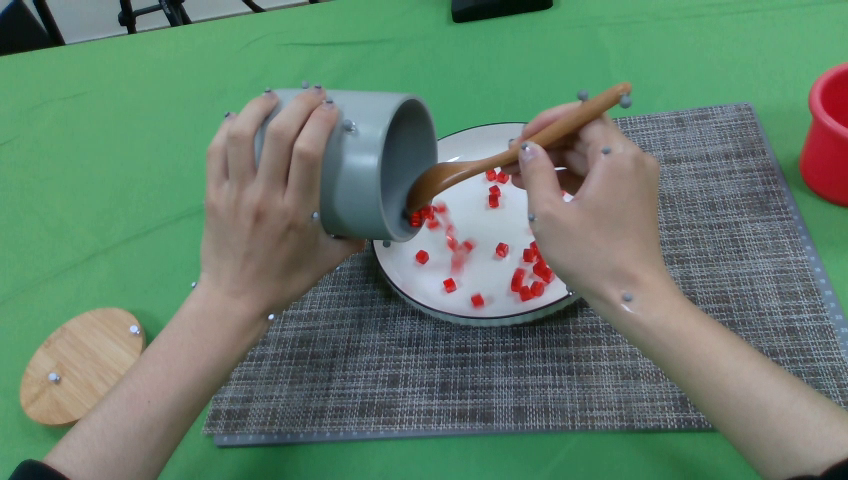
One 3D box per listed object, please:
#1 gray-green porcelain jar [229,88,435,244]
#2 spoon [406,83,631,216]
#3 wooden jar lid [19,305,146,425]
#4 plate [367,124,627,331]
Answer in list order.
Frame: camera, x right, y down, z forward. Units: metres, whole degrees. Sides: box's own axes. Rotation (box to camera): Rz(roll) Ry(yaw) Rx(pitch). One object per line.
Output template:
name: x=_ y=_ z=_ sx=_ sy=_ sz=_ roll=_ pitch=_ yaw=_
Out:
gray-green porcelain jar: x=-0.068 y=-0.057 z=0.448 sx=0.126 sy=0.107 sz=0.105 roll=9 pitch=55 yaw=19
spoon: x=0.050 y=-0.056 z=0.398 sx=0.193 sy=0.022 sz=0.041 roll=-20 pitch=37 yaw=42
wooden jar lid: x=-0.283 y=0.105 z=0.510 sx=0.108 sy=0.021 sz=0.107 roll=-6 pitch=51 yaw=8
plate: x=0.058 y=-0.012 z=0.498 sx=0.207 sy=0.039 sz=0.205 roll=-7 pitch=51 yaw=9
